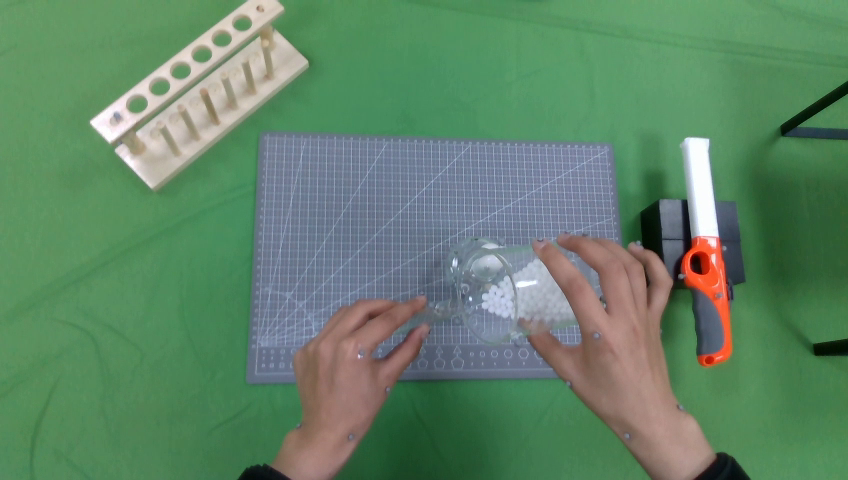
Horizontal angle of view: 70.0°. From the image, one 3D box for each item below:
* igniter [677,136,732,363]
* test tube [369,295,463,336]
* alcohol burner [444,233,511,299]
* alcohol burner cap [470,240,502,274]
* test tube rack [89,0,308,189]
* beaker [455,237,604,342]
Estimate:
[{"bbox_3d":[0.327,0.006,0.713,0.057,0.025,0.275,3,73,-4],"label":"igniter"},{"bbox_3d":[-0.012,0.071,0.552,0.017,0.150,0.017,10,70,-30],"label":"test tube"},{"bbox_3d":[0.063,0.025,0.675,0.078,0.119,0.077,2,73,-8],"label":"alcohol burner"},{"bbox_3d":[0.068,0.017,0.641,0.034,0.048,0.033,1,78,-2],"label":"alcohol burner cap"},{"bbox_3d":[-0.249,-0.173,0.702,0.066,0.085,0.242,44,75,6],"label":"test tube rack"},{"bbox_3d":[0.084,0.036,0.480,0.101,0.084,0.073,-6,71,-32],"label":"beaker"}]
